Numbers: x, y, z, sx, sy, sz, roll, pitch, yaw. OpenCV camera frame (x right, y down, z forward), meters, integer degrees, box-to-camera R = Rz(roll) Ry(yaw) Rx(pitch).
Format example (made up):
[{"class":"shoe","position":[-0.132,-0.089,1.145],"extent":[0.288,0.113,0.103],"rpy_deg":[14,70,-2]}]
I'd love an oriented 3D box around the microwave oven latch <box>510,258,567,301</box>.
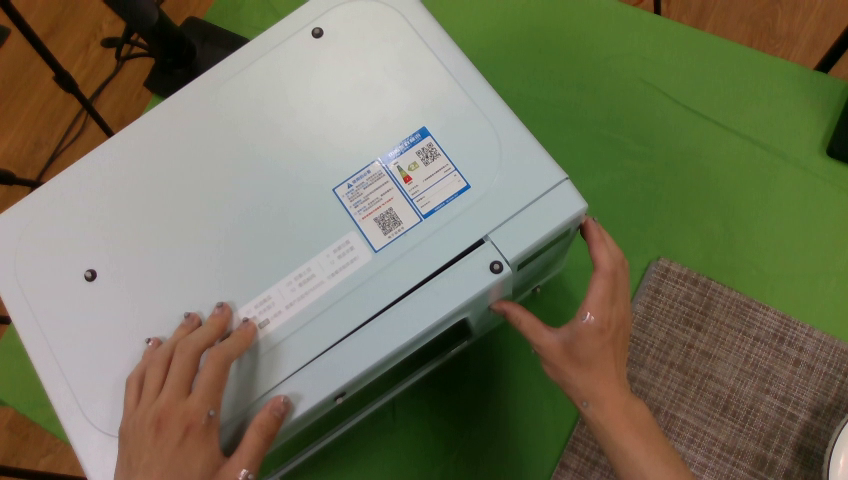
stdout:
[{"class":"microwave oven latch","position":[0.120,0.036,0.672],"extent":[0.079,0.030,0.030],"rpy_deg":[-34,74,-1]}]

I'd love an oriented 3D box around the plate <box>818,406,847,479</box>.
[{"class":"plate","position":[0.490,0.243,0.586],"extent":[0.207,0.039,0.206],"rpy_deg":[-2,76,7]}]

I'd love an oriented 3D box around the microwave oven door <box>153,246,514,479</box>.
[{"class":"microwave oven door","position":[-0.071,0.139,0.566],"extent":[0.356,0.245,0.039],"rpy_deg":[-35,73,-2]}]

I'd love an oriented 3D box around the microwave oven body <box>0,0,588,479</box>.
[{"class":"microwave oven body","position":[-0.121,0.000,0.613],"extent":[0.442,0.262,0.324],"rpy_deg":[-36,74,-2]}]
